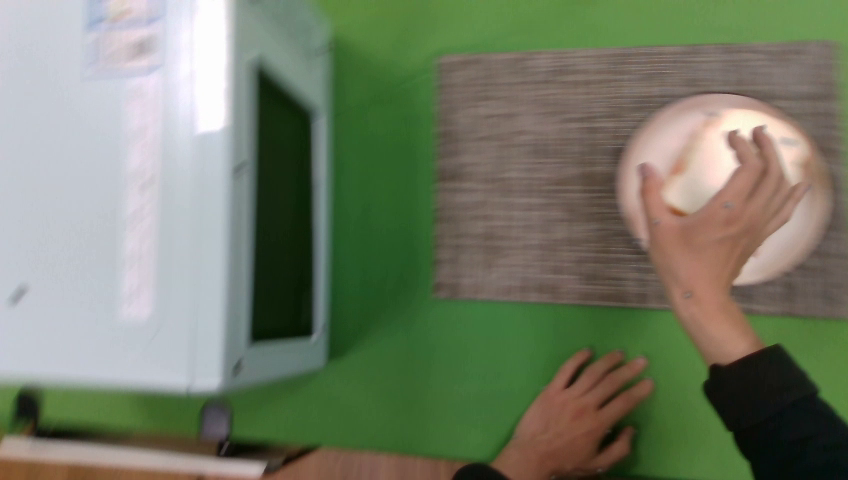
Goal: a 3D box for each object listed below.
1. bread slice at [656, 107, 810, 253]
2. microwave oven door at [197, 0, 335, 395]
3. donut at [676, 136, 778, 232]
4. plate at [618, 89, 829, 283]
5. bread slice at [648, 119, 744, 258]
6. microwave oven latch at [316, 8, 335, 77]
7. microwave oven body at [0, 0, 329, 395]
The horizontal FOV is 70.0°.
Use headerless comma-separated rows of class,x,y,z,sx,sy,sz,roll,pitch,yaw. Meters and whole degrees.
bread slice,0.309,-0.068,0.596,0.104,0.019,0.131,33,87,18
microwave oven door,-0.150,-0.035,0.618,0.039,0.245,0.355,-1,84,11
donut,0.311,-0.057,0.626,0.099,0.048,0.099,-1,85,12
plate,0.315,-0.056,0.653,0.207,0.039,0.207,-1,84,10
bread slice,0.318,-0.063,0.653,0.106,0.018,0.134,27,89,12
microwave oven latch,-0.124,-0.241,0.739,0.030,0.029,0.079,0,85,10
microwave oven body,-0.292,-0.076,0.654,0.325,0.261,0.440,0,85,10
